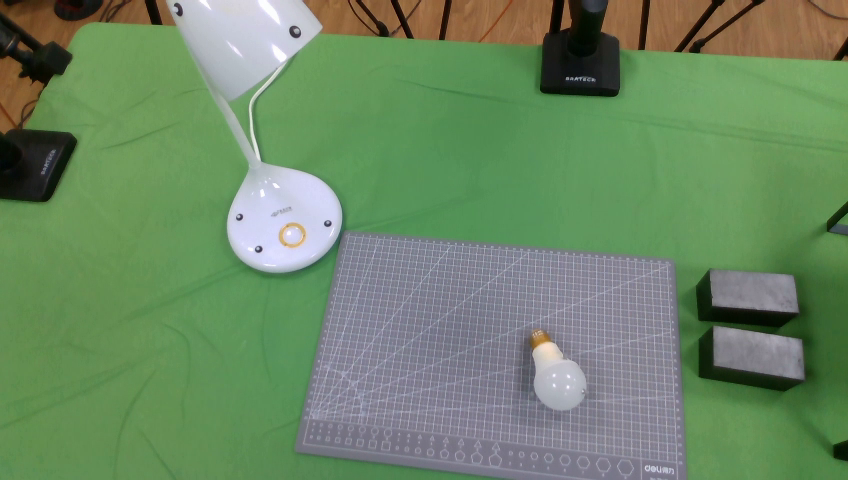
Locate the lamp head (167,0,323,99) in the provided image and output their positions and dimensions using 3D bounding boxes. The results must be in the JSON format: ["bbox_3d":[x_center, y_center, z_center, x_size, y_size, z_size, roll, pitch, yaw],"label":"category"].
[{"bbox_3d":[-0.168,-0.202,0.528,0.112,0.112,0.124,-48,112,-19],"label":"lamp head"}]

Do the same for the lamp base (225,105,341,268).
[{"bbox_3d":[-0.208,-0.077,0.785,0.160,0.182,0.177,-33,63,-13],"label":"lamp base"}]

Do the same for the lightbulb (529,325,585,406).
[{"bbox_3d":[0.152,0.146,0.722,0.059,0.060,0.106,-15,48,-4],"label":"lightbulb"}]
